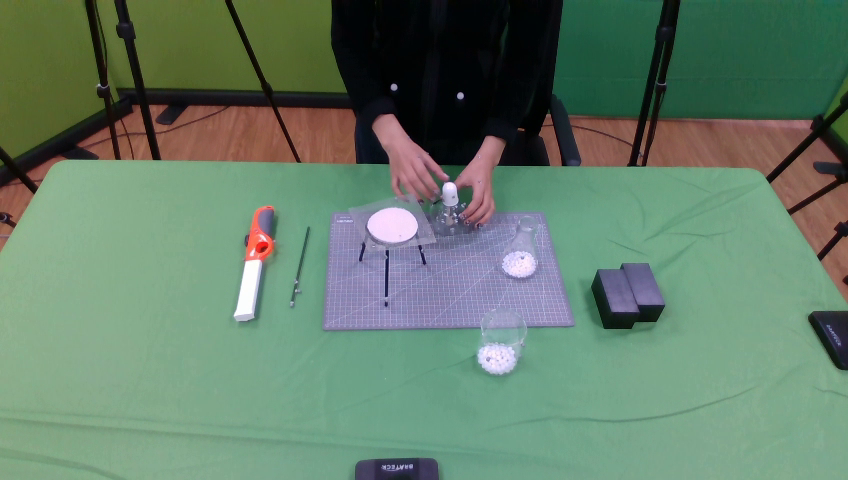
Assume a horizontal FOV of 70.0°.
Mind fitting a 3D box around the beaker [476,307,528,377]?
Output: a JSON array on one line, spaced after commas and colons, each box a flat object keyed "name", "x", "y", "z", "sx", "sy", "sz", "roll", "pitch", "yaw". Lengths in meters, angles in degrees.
[{"name": "beaker", "x": 0.122, "y": 0.171, "z": 0.991, "sx": 0.084, "sy": 0.101, "sz": 0.073, "roll": -34, "pitch": 56, "yaw": -31}]

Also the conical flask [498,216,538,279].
[{"name": "conical flask", "x": 0.183, "y": 0.010, "z": 1.131, "sx": 0.075, "sy": 0.122, "sz": 0.075, "roll": 2, "pitch": 46, "yaw": -2}]

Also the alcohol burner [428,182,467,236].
[{"name": "alcohol burner", "x": 0.048, "y": -0.066, "z": 1.201, "sx": 0.078, "sy": 0.120, "sz": 0.077, "roll": 1, "pitch": 46, "yaw": -1}]

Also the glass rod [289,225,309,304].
[{"name": "glass rod", "x": -0.235, "y": 0.043, "z": 1.149, "sx": 0.008, "sy": 0.008, "sz": 0.198, "roll": 3, "pitch": 46, "yaw": -1}]

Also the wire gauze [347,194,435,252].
[{"name": "wire gauze", "x": -0.058, "y": -0.029, "z": 1.048, "sx": 0.125, "sy": 0.011, "sz": 0.120, "roll": -12, "pitch": 48, "yaw": -16}]

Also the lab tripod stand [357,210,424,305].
[{"name": "lab tripod stand", "x": -0.061, "y": 0.020, "z": 1.094, "sx": 0.148, "sy": 0.132, "sz": 0.147, "roll": 3, "pitch": 44, "yaw": -2}]

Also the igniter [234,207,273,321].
[{"name": "igniter", "x": -0.318, "y": 0.035, "z": 1.137, "sx": 0.057, "sy": 0.025, "sz": 0.274, "roll": -8, "pitch": 46, "yaw": 3}]

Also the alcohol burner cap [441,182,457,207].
[{"name": "alcohol burner cap", "x": 0.048, "y": -0.091, "z": 1.174, "sx": 0.034, "sy": 0.048, "sz": 0.033, "roll": -4, "pitch": 51, "yaw": 5}]
